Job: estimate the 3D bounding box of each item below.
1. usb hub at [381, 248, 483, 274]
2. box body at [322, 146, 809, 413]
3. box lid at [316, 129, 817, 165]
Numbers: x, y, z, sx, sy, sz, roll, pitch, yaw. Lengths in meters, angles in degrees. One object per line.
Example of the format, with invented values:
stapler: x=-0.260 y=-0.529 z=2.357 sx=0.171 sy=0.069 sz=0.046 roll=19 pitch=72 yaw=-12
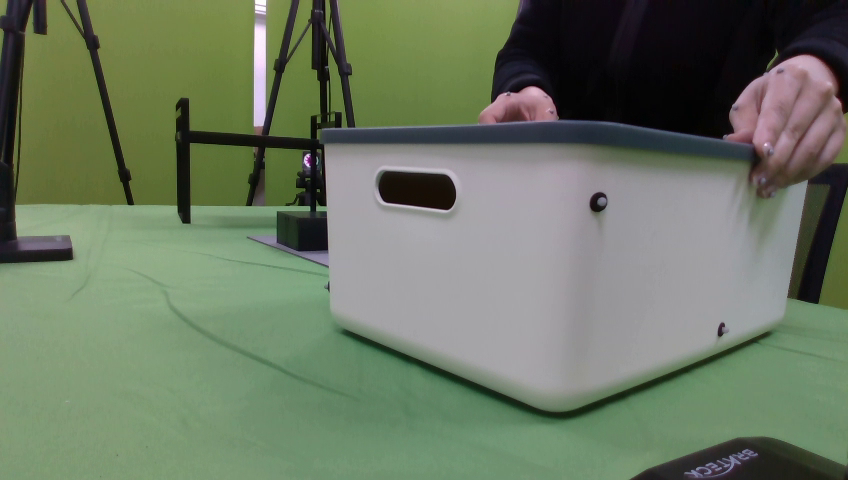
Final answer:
usb hub: x=0.011 y=0.026 z=0.775 sx=0.126 sy=0.025 sz=0.049 roll=-1 pitch=7 yaw=-27
box body: x=0.124 y=-0.001 z=0.510 sx=0.366 sy=0.160 sz=0.253 roll=-4 pitch=10 yaw=-41
box lid: x=0.128 y=-0.073 z=0.501 sx=0.374 sy=0.015 sz=0.262 roll=-5 pitch=11 yaw=-41
